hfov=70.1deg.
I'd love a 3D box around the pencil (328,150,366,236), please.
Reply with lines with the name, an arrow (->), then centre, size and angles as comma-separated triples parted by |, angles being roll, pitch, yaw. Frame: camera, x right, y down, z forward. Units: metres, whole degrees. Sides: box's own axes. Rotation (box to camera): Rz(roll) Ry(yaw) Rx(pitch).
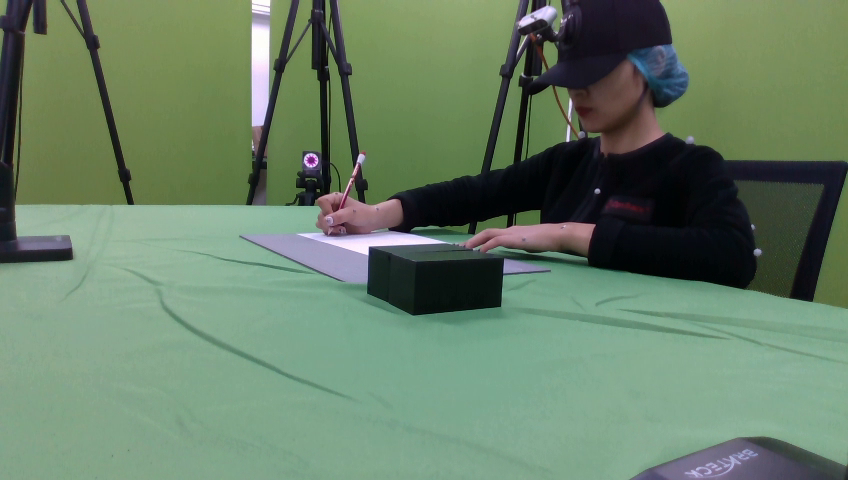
pencil -> -0.138, -0.087, 1.082 | 0.012, 0.194, 0.012 | 13, -31, 8
